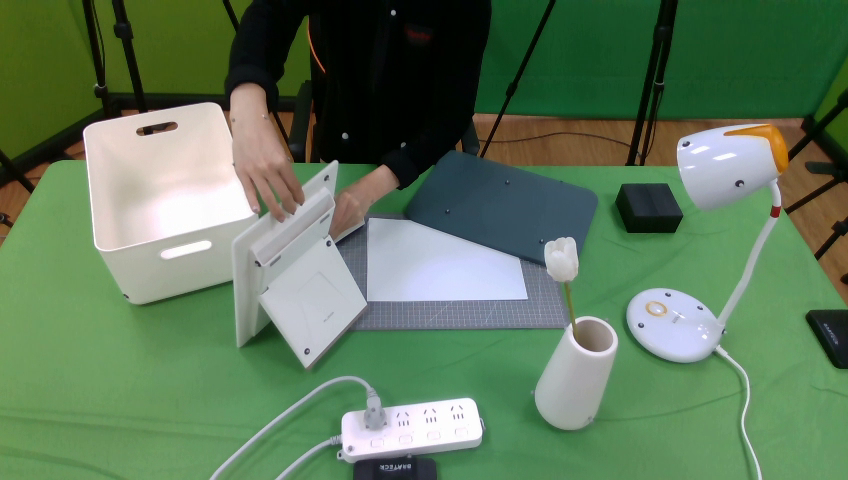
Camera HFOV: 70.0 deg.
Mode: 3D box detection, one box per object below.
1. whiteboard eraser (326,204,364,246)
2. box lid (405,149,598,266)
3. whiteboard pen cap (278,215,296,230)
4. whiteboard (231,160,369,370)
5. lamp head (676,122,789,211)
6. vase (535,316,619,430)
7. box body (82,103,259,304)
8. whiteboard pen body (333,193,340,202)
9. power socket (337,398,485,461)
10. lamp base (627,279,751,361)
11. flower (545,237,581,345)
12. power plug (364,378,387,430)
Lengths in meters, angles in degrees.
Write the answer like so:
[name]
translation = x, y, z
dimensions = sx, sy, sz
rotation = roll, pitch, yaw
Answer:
[whiteboard eraser]
translation = -0.175, -0.022, 1.188
dimensions = 0.055, 0.042, 0.112
rotation = 36, 54, 26
[box lid]
translation = 0.171, -0.073, 1.289
dimensions = 0.371, 0.015, 0.262
rotation = 19, 47, 14
[whiteboard pen cap]
translation = -0.273, -0.035, 1.213
dimensions = 0.033, 0.018, 0.018
rotation = -33, 57, -30
[whiteboard]
translation = -0.171, 0.066, 0.950
dimensions = 0.143, 0.306, 0.217
rotation = 37, 53, 11
[lamp head]
translation = 0.423, -0.104, 0.819
dimensions = 0.122, 0.113, 0.112
rotation = -13, 33, 40
[vase]
translation = 0.229, 0.200, 0.901
dimensions = 0.098, 0.201, 0.097
rotation = 3, 46, -3
[box body]
translation = -0.465, -0.077, 1.137
dimensions = 0.254, 0.161, 0.361
rotation = -16, 50, -19
[whiteboard pen body]
translation = -0.230, -0.061, 1.243
dimensions = 0.141, 0.017, 0.017
rotation = -32, 57, -30
[power socket]
translation = -0.018, 0.285, 0.914
dimensions = 0.227, 0.033, 0.071
rotation = -4, 46, -8
[lamp base]
translation = 0.460, 0.100, 1.027
dimensions = 0.178, 0.181, 0.160
rotation = 27, 51, 17
[flower]
translation = 0.213, 0.137, 0.846
dimensions = 0.038, 0.364, 0.044
rotation = 21, 55, 39
[power plug]
translation = -0.071, 0.252, 0.911
dimensions = 0.035, 0.053, 0.072
rotation = 4, 40, 0
